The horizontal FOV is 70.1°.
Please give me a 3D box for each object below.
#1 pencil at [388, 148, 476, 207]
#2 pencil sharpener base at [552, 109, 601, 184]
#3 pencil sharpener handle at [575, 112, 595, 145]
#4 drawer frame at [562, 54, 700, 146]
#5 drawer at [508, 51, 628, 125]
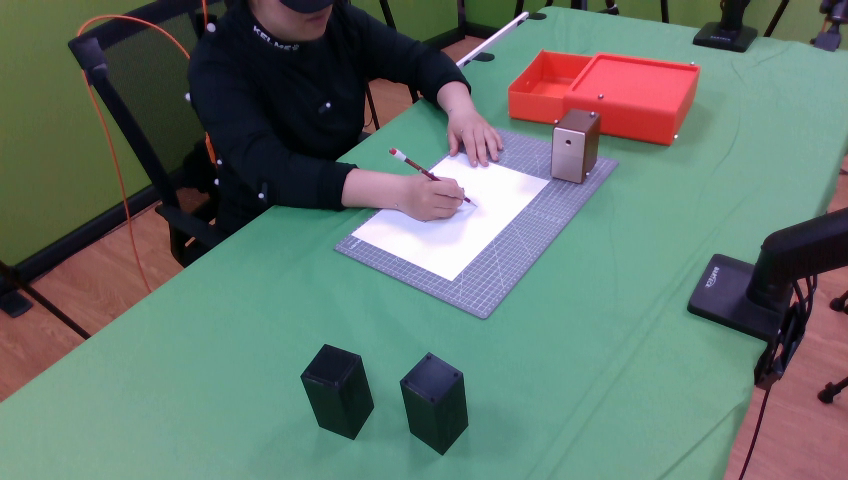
[{"bbox_3d":[0.018,-0.098,0.981,0.012,0.196,0.012,-33,41,36],"label":"pencil"},{"bbox_3d":[0.265,-0.163,1.053,0.061,0.107,0.077,17,46,27],"label":"pencil sharpener base"},{"bbox_3d":[0.290,-0.203,1.077,0.036,0.068,0.031,19,47,25],"label":"pencil sharpener handle"},{"bbox_3d":[0.407,-0.282,1.195,0.212,0.083,0.202,17,45,25],"label":"drawer frame"},{"bbox_3d":[0.305,-0.309,1.246,0.210,0.073,0.195,16,45,25],"label":"drawer"}]
